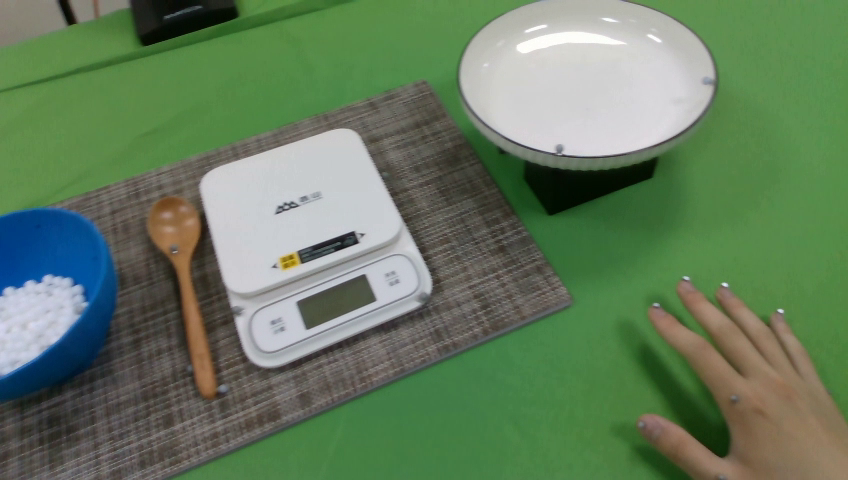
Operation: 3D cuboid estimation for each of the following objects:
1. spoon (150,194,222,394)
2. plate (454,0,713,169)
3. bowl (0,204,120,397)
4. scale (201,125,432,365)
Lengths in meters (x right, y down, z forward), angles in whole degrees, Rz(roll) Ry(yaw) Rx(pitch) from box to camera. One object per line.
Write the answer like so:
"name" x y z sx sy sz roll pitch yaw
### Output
"spoon" -0.188 0.036 0.484 0.042 0.022 0.191 -12 52 -21
"plate" 0.129 -0.133 0.509 0.209 0.038 0.207 -3 54 4
"bowl" -0.288 0.055 0.445 0.151 0.077 0.150 -2 53 4
"scale" -0.094 -0.007 0.501 0.149 0.032 0.198 -22 55 -10
